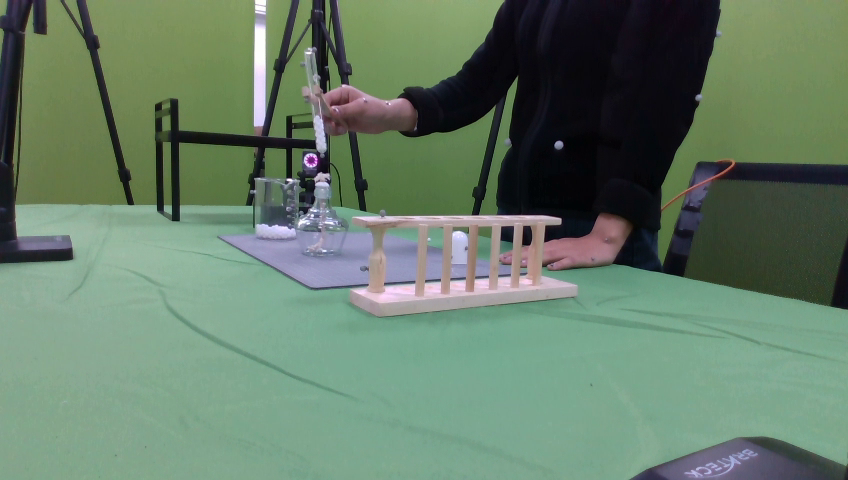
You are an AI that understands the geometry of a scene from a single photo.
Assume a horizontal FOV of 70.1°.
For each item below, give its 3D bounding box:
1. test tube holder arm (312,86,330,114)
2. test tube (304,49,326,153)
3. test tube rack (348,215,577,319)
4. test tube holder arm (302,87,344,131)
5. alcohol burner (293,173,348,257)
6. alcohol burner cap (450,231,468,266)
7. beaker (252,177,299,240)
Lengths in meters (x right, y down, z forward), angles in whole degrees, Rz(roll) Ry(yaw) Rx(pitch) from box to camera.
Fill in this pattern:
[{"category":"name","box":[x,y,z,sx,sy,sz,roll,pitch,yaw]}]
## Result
[{"category":"test tube holder arm","box":[-0.149,-0.201,0.875,0.010,0.015,0.088,-4,-5,1]},{"category":"test tube","box":[-0.153,-0.196,0.852,0.017,0.150,0.017,-8,-5,0]},{"category":"test tube rack","box":[0.048,0.021,0.619,0.244,0.085,0.066,-2,9,-31]},{"category":"test tube holder arm","box":[-0.150,-0.196,0.920,0.013,0.015,0.178,-4,-5,7]},{"category":"alcohol burner","box":[-0.146,-0.036,0.859,0.078,0.119,0.078,4,8,0]},{"category":"alcohol burner cap","box":[0.046,0.012,0.839,0.034,0.048,0.034,3,6,0]},{"category":"beaker","box":[-0.245,-0.052,1.005,0.074,0.100,0.083,-3,10,-32]}]
